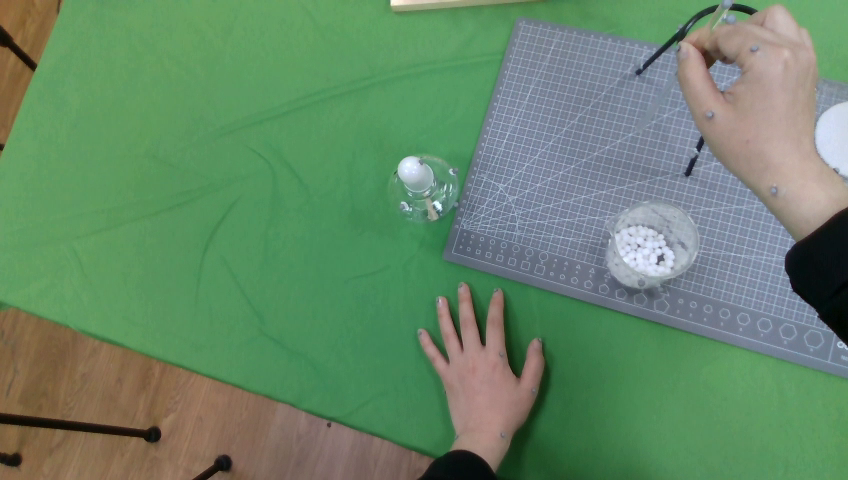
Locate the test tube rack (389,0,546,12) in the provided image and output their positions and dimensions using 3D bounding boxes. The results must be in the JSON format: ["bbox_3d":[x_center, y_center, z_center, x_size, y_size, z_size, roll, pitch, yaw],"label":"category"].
[{"bbox_3d":[0.072,-0.321,0.688,0.242,0.085,0.066,-1,79,9],"label":"test tube rack"}]

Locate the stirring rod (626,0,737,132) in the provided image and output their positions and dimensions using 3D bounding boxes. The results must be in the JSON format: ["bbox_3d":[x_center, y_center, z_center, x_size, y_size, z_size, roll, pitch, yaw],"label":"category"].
[{"bbox_3d":[0.176,-0.124,0.414,0.014,0.177,0.006,17,68,3],"label":"stirring rod"}]

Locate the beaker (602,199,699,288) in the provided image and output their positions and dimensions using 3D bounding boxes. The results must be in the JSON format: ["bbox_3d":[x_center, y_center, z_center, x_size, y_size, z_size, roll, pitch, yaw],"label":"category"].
[{"bbox_3d":[0.213,0.007,0.595,0.083,0.101,0.074,22,83,14],"label":"beaker"}]

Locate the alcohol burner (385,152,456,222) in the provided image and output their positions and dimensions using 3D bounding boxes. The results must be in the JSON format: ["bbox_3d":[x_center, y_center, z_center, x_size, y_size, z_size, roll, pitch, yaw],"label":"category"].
[{"bbox_3d":[-0.006,-0.061,0.639,0.078,0.120,0.077,-2,77,8],"label":"alcohol burner"}]

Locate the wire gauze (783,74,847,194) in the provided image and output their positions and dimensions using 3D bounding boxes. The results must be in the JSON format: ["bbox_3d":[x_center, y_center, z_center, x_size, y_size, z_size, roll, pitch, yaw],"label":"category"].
[{"bbox_3d":[0.446,-0.102,0.623,0.125,0.011,0.121,21,83,10],"label":"wire gauze"}]

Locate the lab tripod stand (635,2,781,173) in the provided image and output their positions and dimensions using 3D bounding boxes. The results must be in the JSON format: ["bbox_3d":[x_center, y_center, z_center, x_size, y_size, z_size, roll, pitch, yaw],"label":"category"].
[{"bbox_3d":[0.279,-0.154,0.595,0.148,0.132,0.148,-1,81,8],"label":"lab tripod stand"}]

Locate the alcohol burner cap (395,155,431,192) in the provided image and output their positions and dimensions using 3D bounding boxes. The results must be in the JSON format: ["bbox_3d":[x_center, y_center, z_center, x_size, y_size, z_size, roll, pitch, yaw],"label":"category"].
[{"bbox_3d":[-0.013,-0.068,0.604,0.034,0.048,0.034,-1,82,10],"label":"alcohol burner cap"}]
